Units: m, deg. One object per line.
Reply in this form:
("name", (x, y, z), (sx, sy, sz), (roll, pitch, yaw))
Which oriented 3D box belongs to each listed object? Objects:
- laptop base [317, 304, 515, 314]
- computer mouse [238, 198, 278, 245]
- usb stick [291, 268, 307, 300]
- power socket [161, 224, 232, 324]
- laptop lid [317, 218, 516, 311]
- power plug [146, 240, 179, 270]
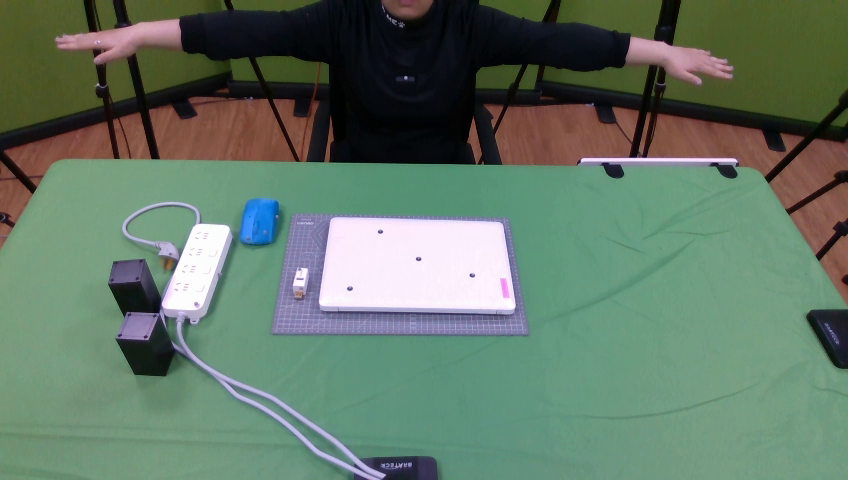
("laptop base", (-0.014, 0.049, 1.150), (0.354, 0.023, 0.234), (1, 42, -3))
("computer mouse", (-0.328, -0.039, 1.200), (0.063, 0.041, 0.116), (3, 50, -4))
("usb stick", (-0.227, 0.081, 1.093), (0.021, 0.027, 0.059), (5, 47, -2))
("power socket", (-0.412, 0.053, 1.106), (0.072, 0.033, 0.225), (4, 46, -1))
("laptop lid", (-0.013, 0.040, 1.143), (0.357, 0.013, 0.240), (3, 43, -2))
("power plug", (-0.489, 0.029, 1.130), (0.072, 0.035, 0.052), (1, 64, 26))
